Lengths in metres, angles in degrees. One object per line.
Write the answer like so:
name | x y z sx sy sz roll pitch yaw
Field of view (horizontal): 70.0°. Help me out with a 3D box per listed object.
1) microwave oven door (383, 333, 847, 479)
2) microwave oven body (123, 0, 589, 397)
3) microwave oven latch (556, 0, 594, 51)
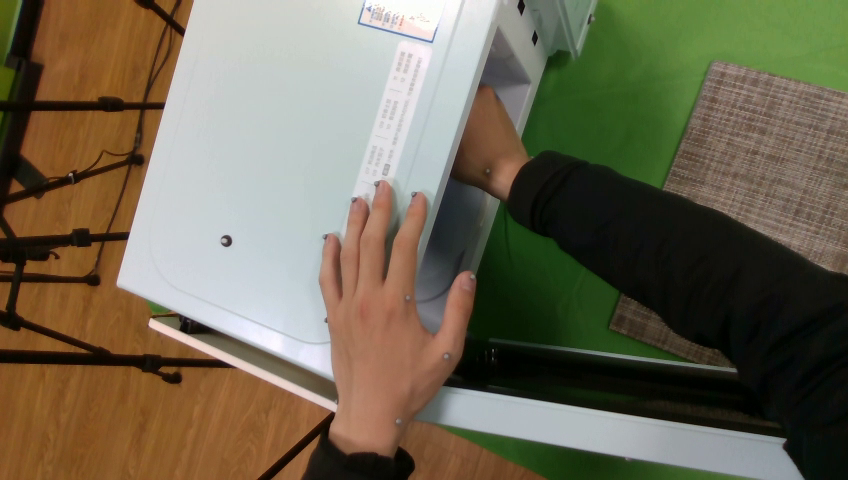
microwave oven door | 0.171 0.133 0.531 0.354 0.245 0.039 3 90 19
microwave oven body | -0.055 -0.123 0.611 0.324 0.261 0.442 19 96 17
microwave oven latch | 0.162 -0.244 0.640 0.030 0.029 0.079 20 97 17
